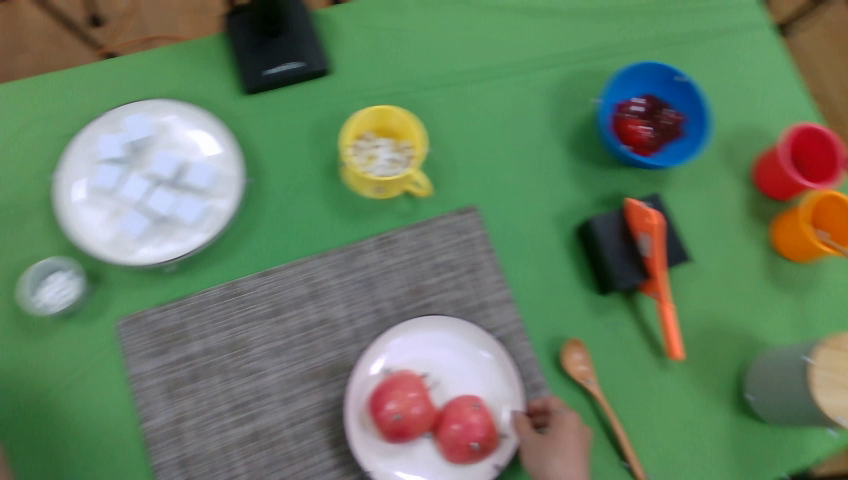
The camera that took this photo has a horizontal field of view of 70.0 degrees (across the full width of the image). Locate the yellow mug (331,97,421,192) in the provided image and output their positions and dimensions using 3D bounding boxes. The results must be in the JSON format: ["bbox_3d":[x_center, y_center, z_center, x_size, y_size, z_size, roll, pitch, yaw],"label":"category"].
[{"bbox_3d":[-0.054,-0.108,0.758,0.131,0.064,0.100,41,72,2],"label":"yellow mug"}]

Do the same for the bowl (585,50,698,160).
[{"bbox_3d":[0.280,-0.169,0.819,0.152,0.077,0.150,2,76,-8],"label":"bowl"}]

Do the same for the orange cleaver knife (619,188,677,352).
[{"bbox_3d":[0.280,0.037,0.763,0.012,0.077,0.212,-18,102,-9],"label":"orange cleaver knife"}]

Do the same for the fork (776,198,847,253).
[{"bbox_3d":[0.524,0.002,0.776,0.028,0.019,0.205,-4,32,-9],"label":"fork"}]

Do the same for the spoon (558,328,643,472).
[{"bbox_3d":[0.218,0.197,0.743,0.042,0.021,0.193,-23,79,-35],"label":"spoon"}]

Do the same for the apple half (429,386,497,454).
[{"bbox_3d":[0.046,0.208,0.695,0.081,0.033,0.081,2,72,-6],"label":"apple half"}]

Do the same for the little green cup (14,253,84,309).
[{"bbox_3d":[-0.413,0.048,0.673,0.062,0.039,0.061,3,75,-10],"label":"little green cup"}]

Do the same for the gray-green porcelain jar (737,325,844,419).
[{"bbox_3d":[0.458,0.162,0.736,0.106,0.127,0.105,2,74,-8],"label":"gray-green porcelain jar"}]

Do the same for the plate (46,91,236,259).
[{"bbox_3d":[-0.330,-0.075,0.721,0.208,0.039,0.206,2,75,-8],"label":"plate"}]

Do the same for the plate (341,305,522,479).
[{"bbox_3d":[0.008,0.181,0.702,0.209,0.038,0.208,2,75,-8],"label":"plate"}]

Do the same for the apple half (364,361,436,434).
[{"bbox_3d":[-0.028,0.178,0.682,0.075,0.053,0.080,-22,80,-11],"label":"apple half"}]

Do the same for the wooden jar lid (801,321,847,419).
[{"bbox_3d":[0.466,0.145,0.677,0.108,0.021,0.108,2,77,-9],"label":"wooden jar lid"}]
